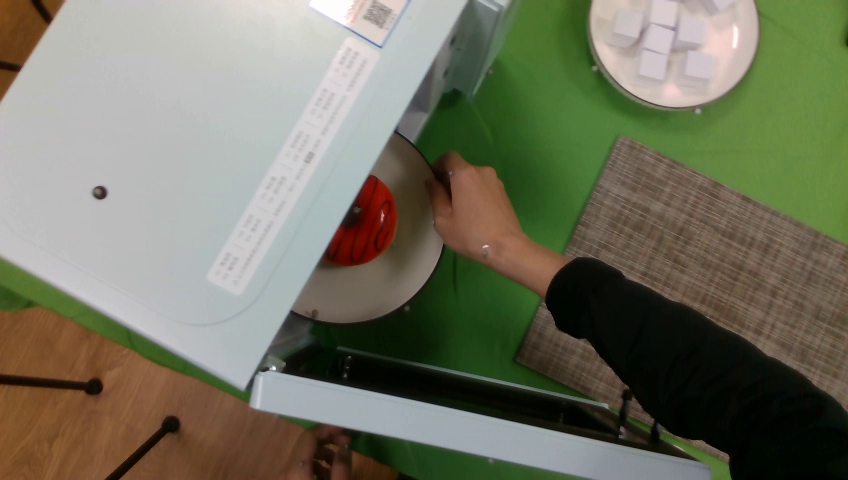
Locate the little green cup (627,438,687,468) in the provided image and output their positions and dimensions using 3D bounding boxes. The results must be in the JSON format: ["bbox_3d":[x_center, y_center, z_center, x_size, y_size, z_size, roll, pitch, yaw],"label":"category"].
[{"bbox_3d":[0.264,0.258,0.697,0.061,0.038,0.061,0,83,-3],"label":"little green cup"}]

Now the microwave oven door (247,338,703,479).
[{"bbox_3d":[0.037,0.156,0.572,0.356,0.244,0.039,13,84,-2],"label":"microwave oven door"}]

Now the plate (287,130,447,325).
[{"bbox_3d":[-0.082,-0.019,0.613,0.209,0.038,0.208,0,87,-4],"label":"plate"}]

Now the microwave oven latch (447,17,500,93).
[{"bbox_3d":[0.057,-0.212,0.699,0.030,0.029,0.079,33,86,-1],"label":"microwave oven latch"}]

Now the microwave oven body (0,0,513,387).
[{"bbox_3d":[-0.153,-0.136,0.586,0.326,0.260,0.441,29,86,-1],"label":"microwave oven body"}]

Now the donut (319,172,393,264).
[{"bbox_3d":[-0.080,-0.025,0.598,0.099,0.048,0.099,0,87,-7],"label":"donut"}]

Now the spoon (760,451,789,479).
[{"bbox_3d":[0.423,0.340,0.705,0.042,0.021,0.193,-10,88,-20],"label":"spoon"}]

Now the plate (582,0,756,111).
[{"bbox_3d":[0.291,-0.255,0.733,0.208,0.039,0.207,0,86,-3],"label":"plate"}]
